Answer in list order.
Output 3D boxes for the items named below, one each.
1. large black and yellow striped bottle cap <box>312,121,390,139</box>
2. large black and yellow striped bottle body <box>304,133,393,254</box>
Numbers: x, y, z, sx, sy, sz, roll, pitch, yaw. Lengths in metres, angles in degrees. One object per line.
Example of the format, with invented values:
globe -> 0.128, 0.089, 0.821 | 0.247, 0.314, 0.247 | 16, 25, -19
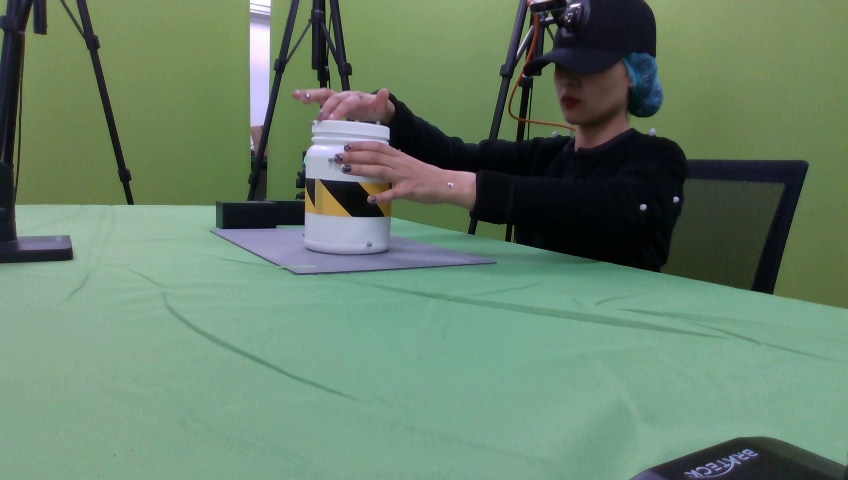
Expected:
large black and yellow striped bottle cap -> -0.108, -0.162, 0.900 | 0.115, 0.019, 0.115 | 3, 5, 0
large black and yellow striped bottle body -> -0.113, -0.077, 0.912 | 0.131, 0.184, 0.130 | 3, 8, 0
